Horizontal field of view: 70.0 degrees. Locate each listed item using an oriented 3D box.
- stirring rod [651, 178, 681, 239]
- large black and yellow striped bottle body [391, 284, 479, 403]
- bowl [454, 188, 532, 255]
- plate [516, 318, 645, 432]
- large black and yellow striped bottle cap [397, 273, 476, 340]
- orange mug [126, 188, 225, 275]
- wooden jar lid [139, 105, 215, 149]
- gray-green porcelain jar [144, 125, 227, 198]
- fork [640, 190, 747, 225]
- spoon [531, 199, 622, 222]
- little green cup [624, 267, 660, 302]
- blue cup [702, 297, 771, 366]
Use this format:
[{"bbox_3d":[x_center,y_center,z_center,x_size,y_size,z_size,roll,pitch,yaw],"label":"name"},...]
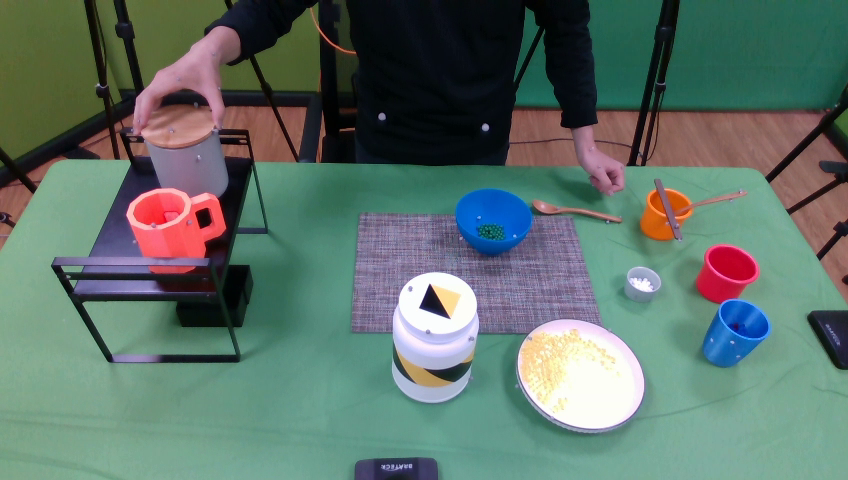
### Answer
[{"bbox_3d":[0.479,-0.065,1.204,0.014,0.006,0.175,3,46,-4],"label":"stirring rod"},{"bbox_3d":[0.015,0.153,0.938,0.131,0.185,0.130,2,46,-2],"label":"large black and yellow striped bottle body"},{"bbox_3d":[0.131,-0.025,1.187,0.151,0.077,0.150,2,46,-2],"label":"bowl"},{"bbox_3d":[0.253,0.221,0.992,0.209,0.038,0.208,2,46,-2],"label":"plate"},{"bbox_3d":[0.018,0.094,0.878,0.115,0.019,0.114,3,46,-3],"label":"large black and yellow striped bottle cap"},{"bbox_3d":[-0.357,-0.020,0.885,0.126,0.101,0.083,-29,54,-23],"label":"orange mug"},{"bbox_3d":[-0.373,-0.169,0.920,0.108,0.021,0.107,4,44,-4],"label":"wooden jar lid"},{"bbox_3d":[-0.375,-0.125,0.966,0.106,0.127,0.105,2,46,-2],"label":"gray-green porcelain jar"},{"bbox_3d":[0.533,-0.065,1.211,0.207,0.019,0.028,-22,28,39],"label":"fork"},{"bbox_3d":[0.321,-0.060,1.279,0.194,0.022,0.041,8,32,4],"label":"spoon"},{"bbox_3d":[0.406,0.084,1.135,0.061,0.039,0.061,3,45,-3],"label":"little green cup"},{"bbox_3d":[0.519,0.162,1.025,0.093,0.101,0.092,3,45,-3],"label":"blue cup"}]
